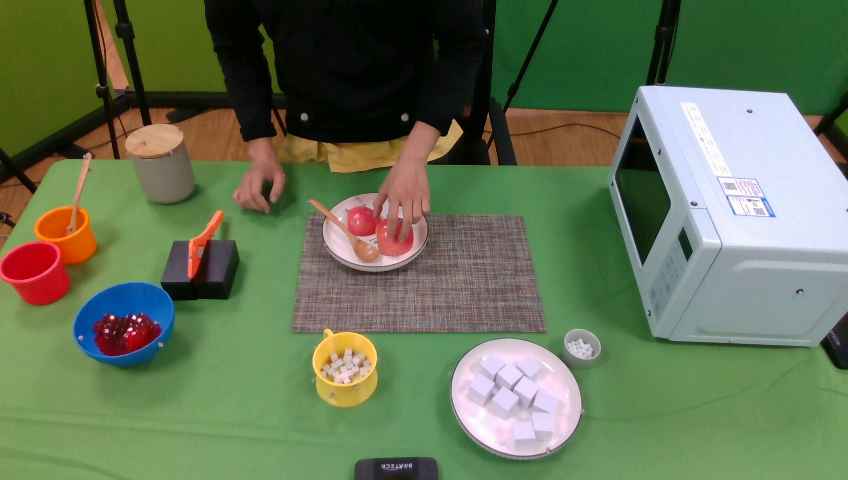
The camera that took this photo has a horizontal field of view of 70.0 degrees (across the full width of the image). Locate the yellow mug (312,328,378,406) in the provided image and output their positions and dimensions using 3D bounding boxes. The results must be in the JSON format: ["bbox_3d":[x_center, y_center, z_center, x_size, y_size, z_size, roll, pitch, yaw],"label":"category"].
[{"bbox_3d":[-0.132,0.193,0.971,0.100,0.064,0.130,-22,51,-22],"label":"yellow mug"}]

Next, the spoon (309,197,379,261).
[{"bbox_3d":[-0.158,-0.025,1.172,0.041,0.022,0.193,-40,73,-19],"label":"spoon"}]

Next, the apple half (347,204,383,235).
[{"bbox_3d":[-0.119,-0.049,1.207,0.081,0.033,0.081,1,50,-1],"label":"apple half"}]

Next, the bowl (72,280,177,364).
[{"bbox_3d":[-0.473,0.147,0.982,0.151,0.077,0.150,2,46,-2],"label":"bowl"}]

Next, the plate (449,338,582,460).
[{"bbox_3d":[0.141,0.251,0.956,0.208,0.039,0.206,2,46,-2],"label":"plate"}]

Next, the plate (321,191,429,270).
[{"bbox_3d":[-0.094,-0.015,1.185,0.209,0.038,0.208,2,46,-2],"label":"plate"}]

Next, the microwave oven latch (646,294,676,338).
[{"bbox_3d":[0.412,0.133,1.061,0.030,0.029,0.078,3,46,0],"label":"microwave oven latch"}]

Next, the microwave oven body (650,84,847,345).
[{"bbox_3d":[0.569,-0.054,1.116,0.326,0.261,0.439,2,46,-1],"label":"microwave oven body"}]

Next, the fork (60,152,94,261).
[{"bbox_3d":[-0.637,-0.063,1.119,0.028,0.019,0.207,11,90,16],"label":"fork"}]

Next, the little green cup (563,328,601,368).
[{"bbox_3d":[0.265,0.185,1.025,0.061,0.039,0.061,1,45,-1],"label":"little green cup"}]

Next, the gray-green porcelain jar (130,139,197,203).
[{"bbox_3d":[-0.522,-0.147,1.225,0.106,0.127,0.105,2,47,-2],"label":"gray-green porcelain jar"}]

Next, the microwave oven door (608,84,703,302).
[{"bbox_3d":[0.424,-0.096,1.138,0.039,0.245,0.353,2,46,-1],"label":"microwave oven door"}]

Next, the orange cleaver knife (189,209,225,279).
[{"bbox_3d":[-0.401,0.002,1.122,0.012,0.077,0.210,4,23,-4],"label":"orange cleaver knife"}]

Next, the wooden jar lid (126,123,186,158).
[{"bbox_3d":[-0.519,-0.190,1.179,0.108,0.021,0.107,2,44,-2],"label":"wooden jar lid"}]

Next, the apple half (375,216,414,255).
[{"bbox_3d":[-0.056,-0.017,1.168,0.075,0.053,0.080,1,47,-7],"label":"apple half"}]
